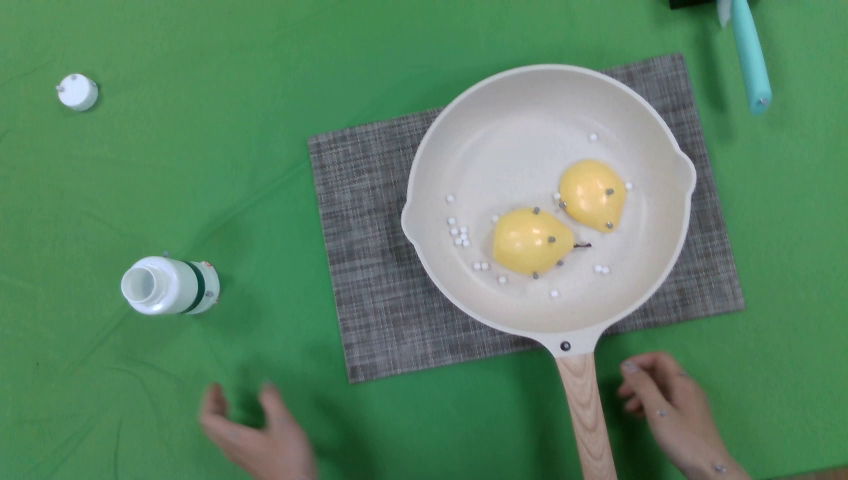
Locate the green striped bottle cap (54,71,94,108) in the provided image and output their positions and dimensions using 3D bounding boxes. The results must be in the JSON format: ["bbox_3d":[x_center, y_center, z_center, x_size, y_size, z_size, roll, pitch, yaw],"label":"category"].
[{"bbox_3d":[-0.442,-0.190,0.766,0.044,0.020,0.044,-1,85,7],"label":"green striped bottle cap"}]

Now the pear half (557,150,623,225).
[{"bbox_3d":[0.188,-0.060,0.674,0.070,0.031,0.087,-27,80,8],"label":"pear half"}]

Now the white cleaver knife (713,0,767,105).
[{"bbox_3d":[0.330,-0.285,0.665,0.021,0.066,0.285,-10,82,11],"label":"white cleaver knife"}]

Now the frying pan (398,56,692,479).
[{"bbox_3d":[0.141,0.051,0.636,0.306,0.103,0.485,-10,76,6],"label":"frying pan"}]

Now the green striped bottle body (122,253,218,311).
[{"bbox_3d":[-0.285,0.048,0.678,0.063,0.119,0.063,-1,84,6],"label":"green striped bottle body"}]

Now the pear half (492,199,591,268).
[{"bbox_3d":[0.130,-0.007,0.665,0.110,0.056,0.076,0,90,4],"label":"pear half"}]
